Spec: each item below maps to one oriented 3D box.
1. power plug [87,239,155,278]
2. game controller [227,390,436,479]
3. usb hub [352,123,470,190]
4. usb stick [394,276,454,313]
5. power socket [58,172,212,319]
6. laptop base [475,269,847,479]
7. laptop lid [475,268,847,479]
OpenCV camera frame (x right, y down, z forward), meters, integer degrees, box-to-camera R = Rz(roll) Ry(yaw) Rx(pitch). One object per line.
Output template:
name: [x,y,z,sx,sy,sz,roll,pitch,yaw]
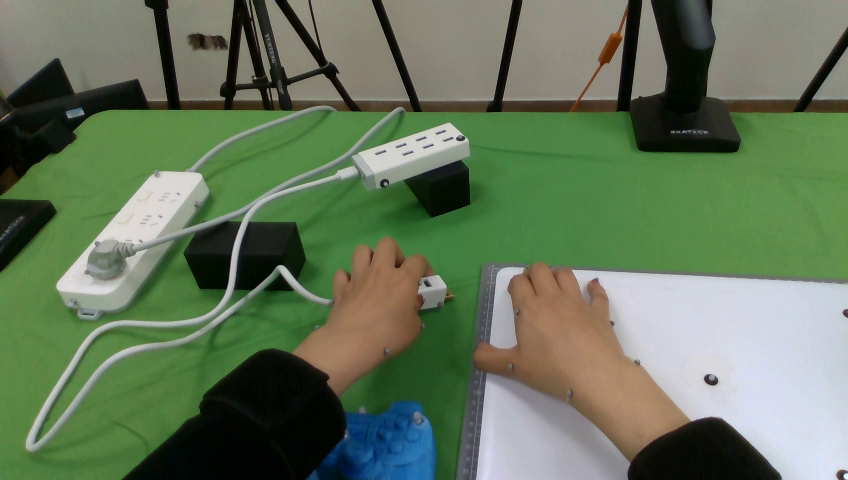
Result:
power plug: [-0.301,0.027,0.603,0.072,0.053,0.035,14,44,17]
game controller: [-0.066,0.159,0.452,0.155,0.052,0.096,4,37,10]
usb hub: [-0.014,-0.094,0.677,0.125,0.025,0.049,-22,44,-16]
usb stick: [0.002,0.051,0.580,0.059,0.027,0.021,-4,32,-26]
power socket: [-0.315,-0.006,0.679,0.072,0.033,0.225,5,42,11]
laptop base: [0.226,0.120,0.485,0.354,0.023,0.233,3,45,9]
laptop lid: [0.225,0.113,0.476,0.356,0.013,0.239,4,44,11]
